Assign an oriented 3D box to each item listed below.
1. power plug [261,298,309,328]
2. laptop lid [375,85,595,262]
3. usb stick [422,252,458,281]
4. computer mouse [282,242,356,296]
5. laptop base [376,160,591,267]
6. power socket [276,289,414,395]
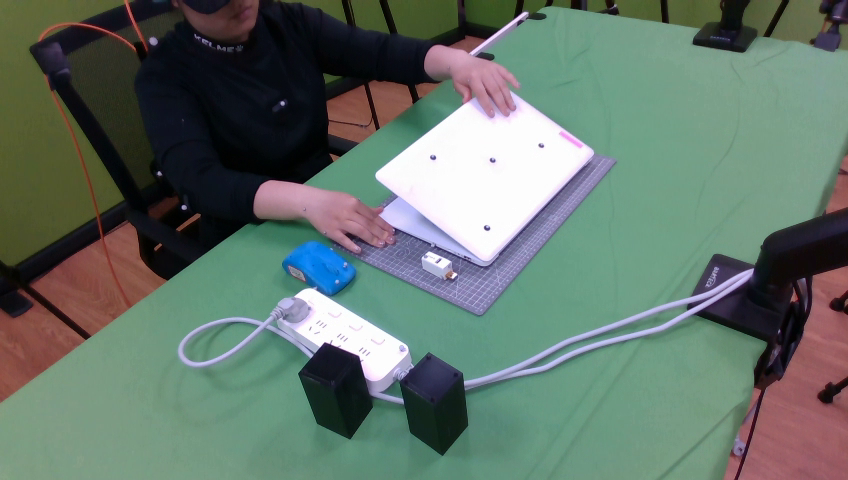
[{"bbox_3d":[-0.192,0.107,0.831,0.073,0.053,0.035,-32,43,-25],"label":"power plug"},{"bbox_3d":[0.115,-0.131,1.021,0.240,0.013,0.358,40,55,15],"label":"laptop lid"},{"bbox_3d":[0.025,0.042,0.908,0.058,0.027,0.021,27,48,32],"label":"usb stick"},{"bbox_3d":[-0.164,0.041,0.934,0.116,0.041,0.063,27,48,28],"label":"computer mouse"},{"bbox_3d":[0.113,-0.091,1.061,0.233,0.023,0.355,21,48,34],"label":"laptop base"},{"bbox_3d":[-0.114,0.133,0.820,0.225,0.033,0.072,25,49,33],"label":"power socket"}]
